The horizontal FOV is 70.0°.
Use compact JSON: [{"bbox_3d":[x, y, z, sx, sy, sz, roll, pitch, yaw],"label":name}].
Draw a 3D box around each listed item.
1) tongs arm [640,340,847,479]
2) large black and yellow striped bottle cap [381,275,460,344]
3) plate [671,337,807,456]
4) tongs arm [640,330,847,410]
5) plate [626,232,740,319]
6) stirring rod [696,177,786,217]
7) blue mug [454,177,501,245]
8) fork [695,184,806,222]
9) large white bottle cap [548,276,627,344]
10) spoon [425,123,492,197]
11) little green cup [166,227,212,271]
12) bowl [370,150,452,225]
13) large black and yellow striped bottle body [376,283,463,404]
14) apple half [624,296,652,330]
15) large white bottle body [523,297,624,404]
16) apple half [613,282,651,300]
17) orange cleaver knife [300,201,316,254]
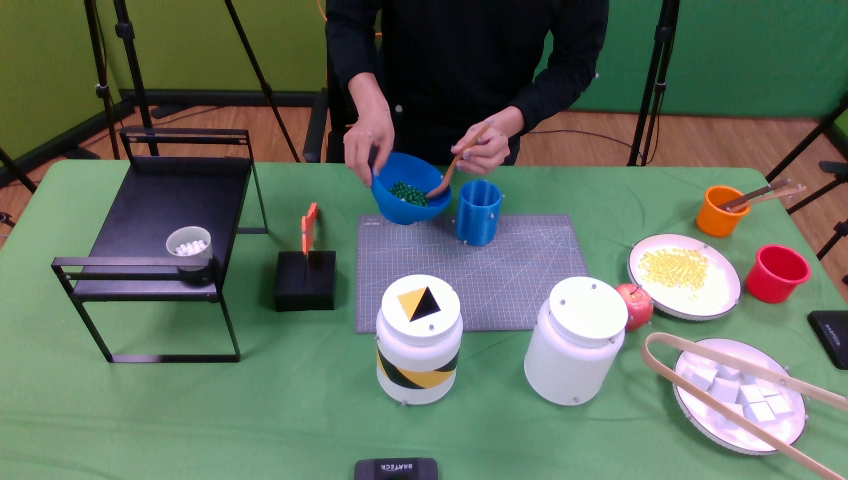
[{"bbox_3d":[0.500,0.277,0.919,0.386,0.028,0.028,34,59,22],"label":"tongs arm"},{"bbox_3d":[-0.005,0.098,0.875,0.115,0.019,0.114,2,45,-1],"label":"large black and yellow striped bottle cap"},{"bbox_3d":[0.504,0.254,0.984,0.208,0.039,0.206,2,46,-2],"label":"plate"},{"bbox_3d":[0.543,0.225,0.969,0.384,0.026,0.050,22,52,13],"label":"tongs arm"},{"bbox_3d":[0.488,0.071,1.157,0.209,0.038,0.208,3,46,-3],"label":"plate"},{"bbox_3d":[0.648,-0.087,1.244,0.176,0.006,0.014,-25,50,29],"label":"stirring rod"},{"bbox_3d":[0.106,-0.067,1.208,0.082,0.106,0.116,5,46,1],"label":"blue mug"},{"bbox_3d":[0.658,-0.074,1.230,0.207,0.019,0.028,-24,33,36],"label":"fork"},{"bbox_3d":[0.240,0.100,0.890,0.115,0.018,0.114,3,47,-3],"label":"large white bottle cap"},{"bbox_3d":[0.056,-0.132,1.030,0.021,0.194,0.041,41,43,3],"label":"spoon"},{"bbox_3d":[-0.344,0.014,0.895,0.061,0.039,0.061,3,46,-3],"label":"little green cup"},{"bbox_3d":[-0.034,-0.081,1.073,0.152,0.077,0.150,18,39,-16],"label":"bowl"},{"bbox_3d":[-0.010,0.155,0.937,0.131,0.185,0.130,2,47,-2],"label":"large black and yellow striped bottle body"},{"bbox_3d":[0.368,0.135,1.060,0.081,0.081,0.032,-11,43,-15],"label":"apple half"},{"bbox_3d":[0.235,0.159,0.952,0.131,0.185,0.130,2,47,-2],"label":"large white bottle body"},{"bbox_3d":[0.356,0.109,1.086,0.081,0.075,0.053,-14,45,-12],"label":"apple half"},{"bbox_3d":[-0.221,-0.027,1.161,0.012,0.077,0.210,-1,15,-4],"label":"orange cleaver knife"}]
